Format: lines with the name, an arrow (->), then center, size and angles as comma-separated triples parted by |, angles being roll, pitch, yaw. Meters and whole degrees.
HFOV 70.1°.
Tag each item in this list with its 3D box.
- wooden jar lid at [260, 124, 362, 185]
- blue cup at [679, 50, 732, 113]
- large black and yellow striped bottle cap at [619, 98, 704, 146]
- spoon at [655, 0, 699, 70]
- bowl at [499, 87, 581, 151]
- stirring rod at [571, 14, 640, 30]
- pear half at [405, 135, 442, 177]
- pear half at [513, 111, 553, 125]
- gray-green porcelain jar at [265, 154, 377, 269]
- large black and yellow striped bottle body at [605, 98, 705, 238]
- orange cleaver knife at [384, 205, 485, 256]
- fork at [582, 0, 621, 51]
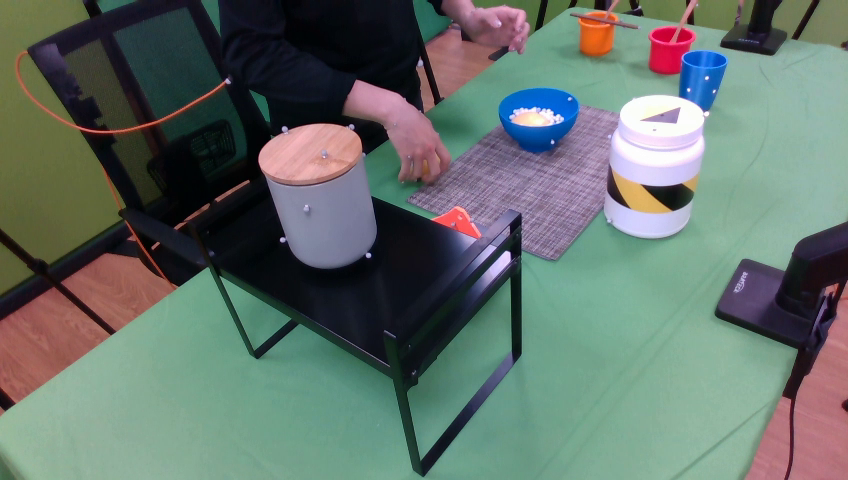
wooden jar lid -> -0.119, -0.088, 0.645 | 0.108, 0.021, 0.108 | -4, 40, 4
blue cup -> 0.545, -0.309, 1.193 | 0.092, 0.100, 0.092 | -4, 39, 3
large black and yellow striped bottle cap -> 0.341, -0.172, 0.872 | 0.115, 0.019, 0.114 | -4, 39, 4
spoon -> 0.567, -0.463, 1.337 | 0.041, 0.022, 0.193 | 30, 96, 38
bowl -> 0.220, -0.223, 1.155 | 0.151, 0.077, 0.150 | -4, 40, 4
stirring rod -> 0.418, -0.508, 1.404 | 0.174, 0.006, 0.014 | 28, 54, 35
pear half -> -0.003, -0.151, 1.136 | 0.076, 0.056, 0.109 | -62, 23, -8
pear half -> 0.212, -0.227, 1.152 | 0.088, 0.031, 0.070 | 7, 43, 10
gray-green porcelain jar -> -0.112, -0.039, 0.685 | 0.106, 0.127, 0.105 | -4, 40, 4
large black and yellow striped bottle body -> 0.352, -0.110, 0.928 | 0.131, 0.185, 0.130 | -5, 41, 5
orange cleaver knife -> 0.012, -0.009, 0.942 | 0.012, 0.077, 0.210 | -37, 19, -35
fork -> 0.446, -0.538, 1.438 | 0.207, 0.019, 0.028 | -57, 36, 12
